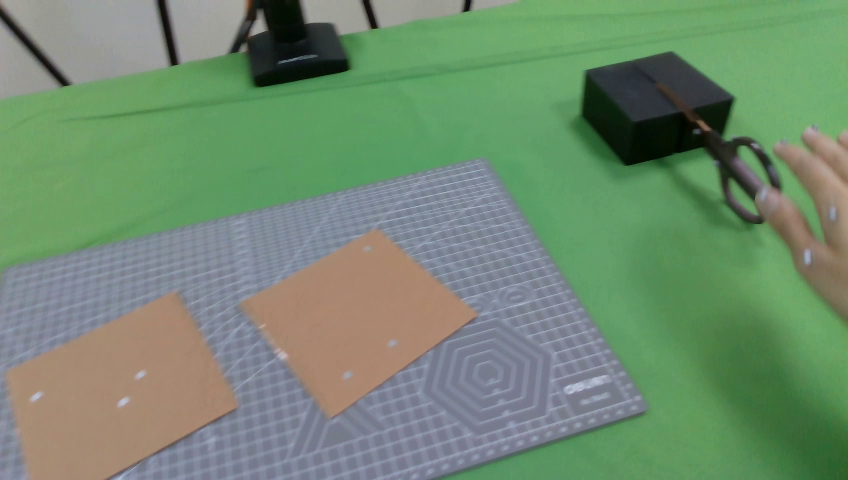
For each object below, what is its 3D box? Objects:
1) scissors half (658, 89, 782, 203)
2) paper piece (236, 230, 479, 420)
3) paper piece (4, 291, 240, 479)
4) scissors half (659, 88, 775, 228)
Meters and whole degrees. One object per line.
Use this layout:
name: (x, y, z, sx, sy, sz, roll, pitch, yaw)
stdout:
scissors half: (0.250, -0.091, 0.528, 0.013, 0.040, 0.173, -23, 41, 1)
paper piece: (-0.053, 0.055, 0.470, 0.138, 0.009, 0.134, -29, 53, -25)
paper piece: (-0.218, 0.106, 0.430, 0.136, 0.004, 0.134, -26, 47, -22)
scissors half: (0.255, -0.079, 0.544, 0.013, 0.040, 0.173, -19, 59, -3)
